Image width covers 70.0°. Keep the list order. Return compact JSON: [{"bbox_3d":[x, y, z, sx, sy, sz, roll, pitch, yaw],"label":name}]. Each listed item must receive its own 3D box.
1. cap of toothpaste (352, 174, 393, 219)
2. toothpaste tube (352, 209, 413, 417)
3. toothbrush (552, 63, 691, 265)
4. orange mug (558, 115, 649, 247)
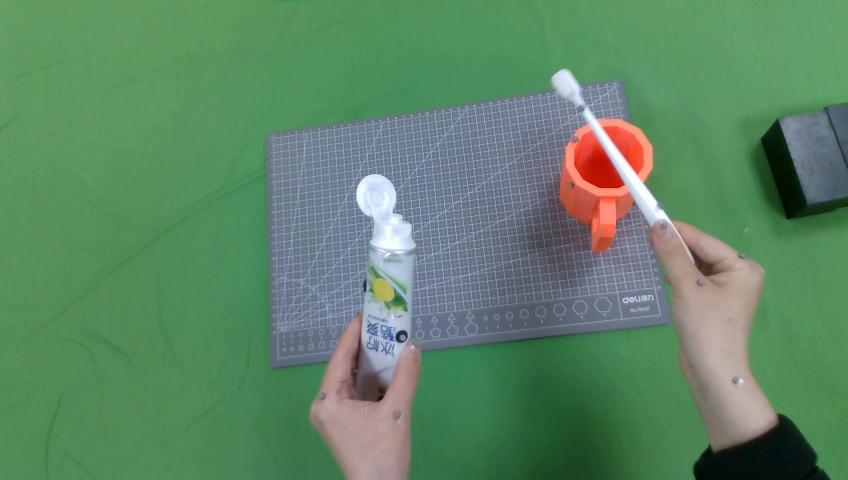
[{"bbox_3d":[-0.037,-0.033,0.462,0.037,0.011,0.037,4,84,-33],"label":"cap of toothpaste"},{"bbox_3d":[-0.032,0.057,0.468,0.054,0.034,0.165,13,107,31],"label":"toothpaste tube"},{"bbox_3d":[0.150,-0.058,0.461,0.014,0.016,0.181,-34,86,33],"label":"toothbrush"},{"bbox_3d":[0.189,-0.059,0.650,0.083,0.101,0.125,1,71,9],"label":"orange mug"}]
